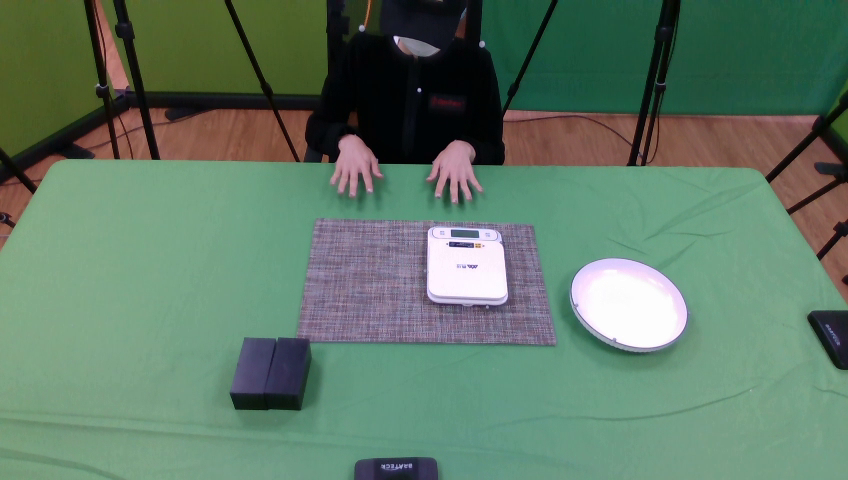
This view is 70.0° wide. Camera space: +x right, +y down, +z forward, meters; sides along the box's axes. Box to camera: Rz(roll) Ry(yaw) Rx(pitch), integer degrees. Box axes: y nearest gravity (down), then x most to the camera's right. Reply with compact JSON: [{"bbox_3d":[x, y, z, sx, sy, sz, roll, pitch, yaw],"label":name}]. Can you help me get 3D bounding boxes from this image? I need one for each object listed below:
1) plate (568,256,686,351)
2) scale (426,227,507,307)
[{"bbox_3d":[0.364,0.118,1.102,0.208,0.039,0.206,2,46,-2],"label":"plate"},{"bbox_3d":[0.078,0.043,1.152,0.149,0.032,0.199,3,45,-2],"label":"scale"}]
